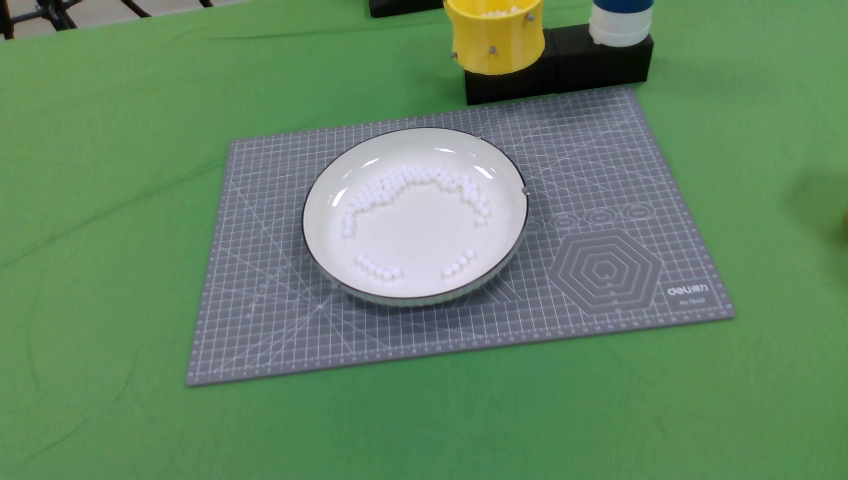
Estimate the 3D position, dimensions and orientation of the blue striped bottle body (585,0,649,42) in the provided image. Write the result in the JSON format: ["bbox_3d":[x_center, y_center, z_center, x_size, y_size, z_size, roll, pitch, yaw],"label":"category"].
[{"bbox_3d":[0.197,-0.266,0.602,0.063,0.122,0.062,-4,52,5],"label":"blue striped bottle body"}]

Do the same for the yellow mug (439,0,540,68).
[{"bbox_3d":[0.060,-0.243,0.638,0.100,0.064,0.129,-39,56,-22],"label":"yellow mug"}]

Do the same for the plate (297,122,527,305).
[{"bbox_3d":[-0.010,-0.025,0.557,0.207,0.039,0.205,-3,52,5],"label":"plate"}]
